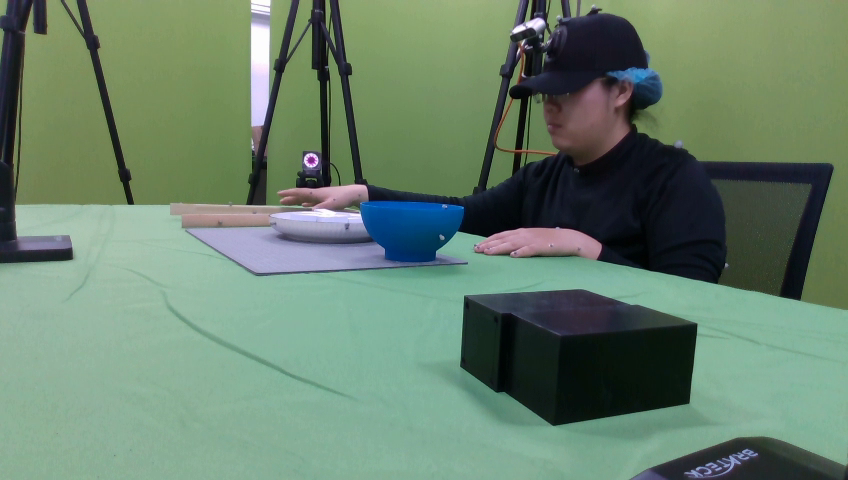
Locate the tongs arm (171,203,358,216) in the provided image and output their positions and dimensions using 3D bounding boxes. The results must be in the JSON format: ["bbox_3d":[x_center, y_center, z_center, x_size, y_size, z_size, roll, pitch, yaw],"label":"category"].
[{"bbox_3d":[-0.331,-0.058,1.295,0.387,0.026,0.050,0,8,-25],"label":"tongs arm"}]

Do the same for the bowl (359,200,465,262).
[{"bbox_3d":[-0.018,-0.013,0.859,0.151,0.077,0.151,2,7,0],"label":"bowl"}]

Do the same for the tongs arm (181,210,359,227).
[{"bbox_3d":[-0.291,-0.044,1.225,0.390,0.028,0.028,-3,7,-38],"label":"tongs arm"}]

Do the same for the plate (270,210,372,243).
[{"bbox_3d":[-0.161,-0.023,1.054,0.208,0.039,0.207,2,7,0],"label":"plate"}]
